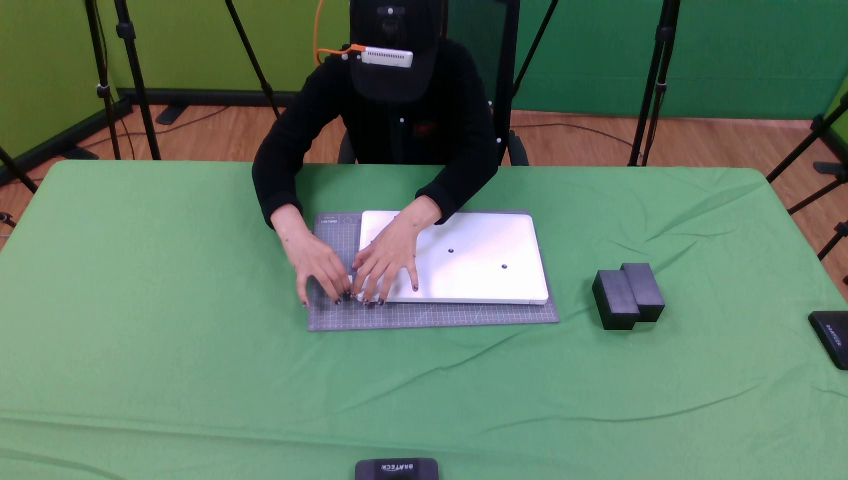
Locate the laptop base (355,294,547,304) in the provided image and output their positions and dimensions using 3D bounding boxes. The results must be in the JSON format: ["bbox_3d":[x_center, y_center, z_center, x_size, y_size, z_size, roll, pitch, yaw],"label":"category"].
[{"bbox_3d":[0.049,0.033,1.173,0.354,0.023,0.234,1,43,-3],"label":"laptop base"}]

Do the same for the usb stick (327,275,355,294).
[{"bbox_3d":[-0.145,0.080,1.097,0.059,0.027,0.021,-4,46,-5],"label":"usb stick"}]

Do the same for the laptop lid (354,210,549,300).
[{"bbox_3d":[0.050,0.023,1.166,0.357,0.013,0.240,2,44,-2],"label":"laptop lid"}]
